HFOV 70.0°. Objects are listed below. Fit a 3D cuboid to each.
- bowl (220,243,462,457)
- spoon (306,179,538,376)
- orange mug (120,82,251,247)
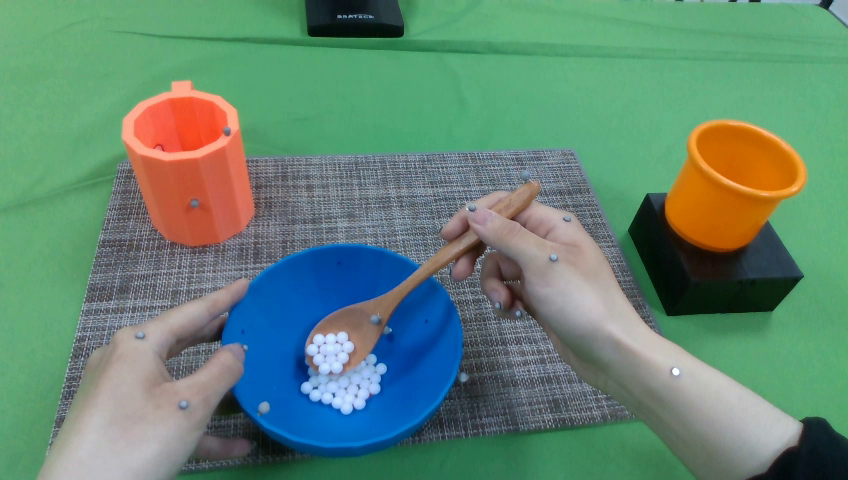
[{"bbox_3d":[-0.054,0.083,0.409,0.151,0.077,0.150,4,48,-4],"label":"bowl"},{"bbox_3d":[-0.004,0.025,0.393,0.194,0.022,0.041,-41,56,17],"label":"spoon"},{"bbox_3d":[-0.198,-0.072,0.511,0.084,0.101,0.125,-9,55,-15],"label":"orange mug"}]
